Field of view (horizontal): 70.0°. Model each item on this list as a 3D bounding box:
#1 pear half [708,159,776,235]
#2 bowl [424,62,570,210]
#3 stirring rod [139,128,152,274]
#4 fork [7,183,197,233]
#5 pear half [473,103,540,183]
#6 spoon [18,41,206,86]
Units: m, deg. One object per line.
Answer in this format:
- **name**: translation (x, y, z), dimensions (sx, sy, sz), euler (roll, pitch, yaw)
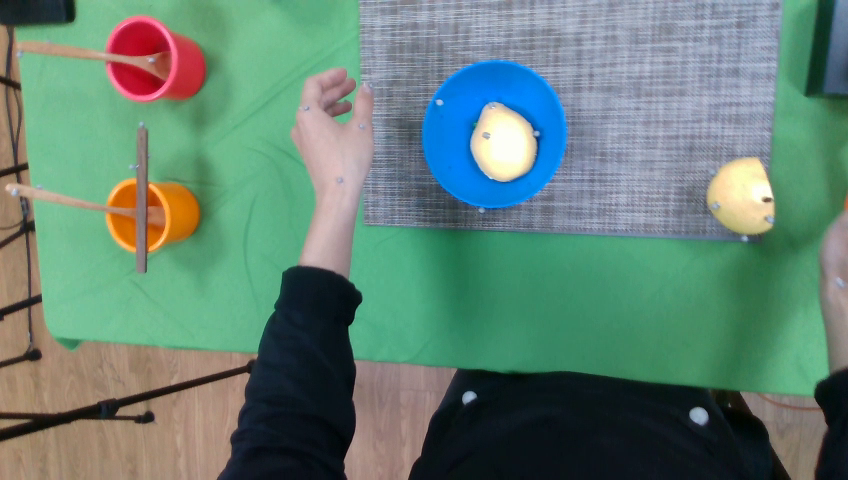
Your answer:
- **pear half**: translation (0.315, -0.039, 0.598), dimensions (0.056, 0.110, 0.076), euler (-17, 90, 15)
- **bowl**: translation (0.082, -0.110, 0.656), dimensions (0.151, 0.077, 0.151), euler (2, 98, 13)
- **stirring rod**: translation (-0.334, -0.045, 0.725), dimensions (0.014, 0.006, 0.176), euler (7, 100, 9)
- **fork**: translation (-0.385, -0.039, 0.739), dimensions (0.209, 0.018, 0.028), euler (12, 114, -34)
- **pear half**: translation (0.086, -0.107, 0.649), dimensions (0.070, 0.031, 0.088), euler (-18, 88, 10)
- **spoon**: translation (-0.360, -0.214, 0.712), dimensions (0.195, 0.021, 0.042), euler (2, 103, -31)
